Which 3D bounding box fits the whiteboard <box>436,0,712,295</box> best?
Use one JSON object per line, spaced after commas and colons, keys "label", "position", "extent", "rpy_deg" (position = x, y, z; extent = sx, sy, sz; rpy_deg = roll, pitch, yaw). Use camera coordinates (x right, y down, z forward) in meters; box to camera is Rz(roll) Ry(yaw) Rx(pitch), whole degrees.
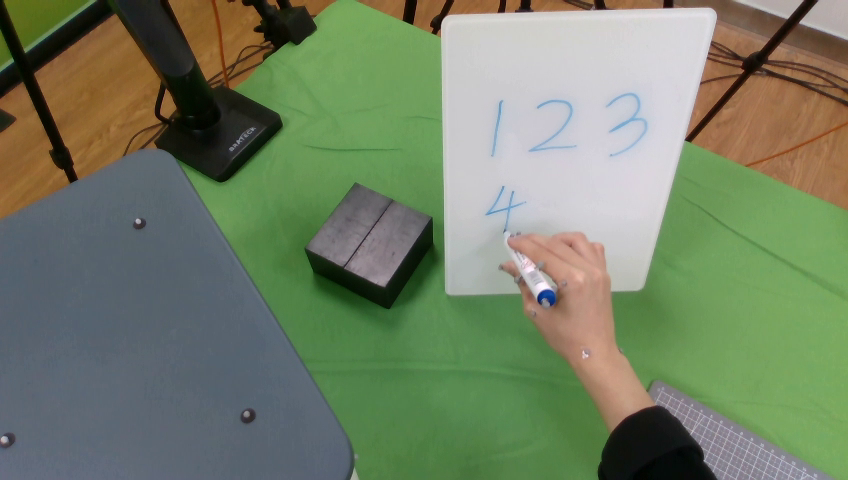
{"label": "whiteboard", "position": [0.122, -0.104, 0.616], "extent": [0.217, 0.308, 0.142], "rpy_deg": [-1, 40, 1]}

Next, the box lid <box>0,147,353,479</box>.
{"label": "box lid", "position": [-0.251, 0.095, 0.464], "extent": [0.263, 0.015, 0.368], "rpy_deg": [-32, 64, -17]}

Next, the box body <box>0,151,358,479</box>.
{"label": "box body", "position": [-0.248, 0.134, 0.527], "extent": [0.254, 0.162, 0.360], "rpy_deg": [-32, 64, -16]}

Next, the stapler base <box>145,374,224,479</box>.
{"label": "stapler base", "position": [-0.230, 0.186, 0.565], "extent": [0.041, 0.025, 0.129], "rpy_deg": [2, 61, 23]}

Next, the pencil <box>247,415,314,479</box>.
{"label": "pencil", "position": [-0.169, 0.232, 0.546], "extent": [0.012, 0.012, 0.193], "rpy_deg": [32, 54, 19]}

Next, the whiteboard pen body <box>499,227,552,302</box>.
{"label": "whiteboard pen body", "position": [0.086, 0.016, 0.542], "extent": [0.017, 0.017, 0.139], "rpy_deg": [-10, 25, -4]}

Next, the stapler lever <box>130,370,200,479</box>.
{"label": "stapler lever", "position": [-0.237, 0.175, 0.545], "extent": [0.026, 0.040, 0.117], "rpy_deg": [2, 60, 24]}
